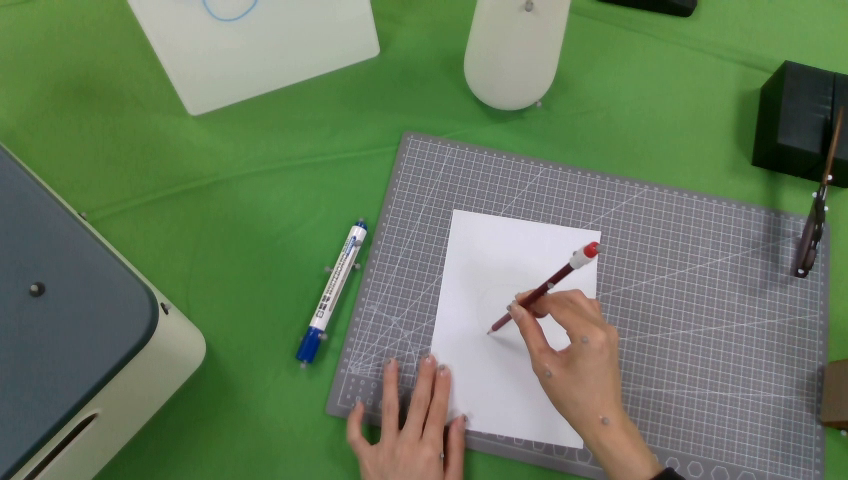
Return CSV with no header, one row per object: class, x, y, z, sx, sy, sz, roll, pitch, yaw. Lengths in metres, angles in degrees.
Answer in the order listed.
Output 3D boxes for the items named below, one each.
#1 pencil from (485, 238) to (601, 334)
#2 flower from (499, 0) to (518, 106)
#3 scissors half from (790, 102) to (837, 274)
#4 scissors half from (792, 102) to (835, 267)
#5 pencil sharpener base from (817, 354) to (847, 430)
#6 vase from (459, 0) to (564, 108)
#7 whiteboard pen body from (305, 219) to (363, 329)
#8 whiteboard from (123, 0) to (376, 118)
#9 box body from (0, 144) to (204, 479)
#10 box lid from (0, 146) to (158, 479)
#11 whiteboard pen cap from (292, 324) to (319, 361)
pencil,0.088,0.045,0.494,0.012,0.195,0.012,8,61,-15
flower,0.082,-0.254,0.503,0.044,0.365,0.038,6,54,5
scissors half,0.383,-0.051,0.593,0.012,0.040,0.175,14,91,29
scissors half,0.375,-0.056,0.575,0.013,0.040,0.174,14,73,23
pencil sharpener base,0.405,0.133,0.516,0.077,0.107,0.061,17,71,1
vase,0.086,-0.213,0.577,0.098,0.201,0.097,0,70,0
whiteboard pen body,-0.090,0.042,0.583,0.017,0.017,0.140,19,70,6
whiteboard,-0.194,-0.309,0.579,0.217,0.308,0.142,-21,54,-7
box body,-0.399,0.054,0.497,0.362,0.161,0.253,39,75,11
box lid,-0.400,0.028,0.427,0.370,0.015,0.263,39,75,11
whiteboard pen cap,-0.109,0.094,0.563,0.018,0.018,0.033,19,68,6
